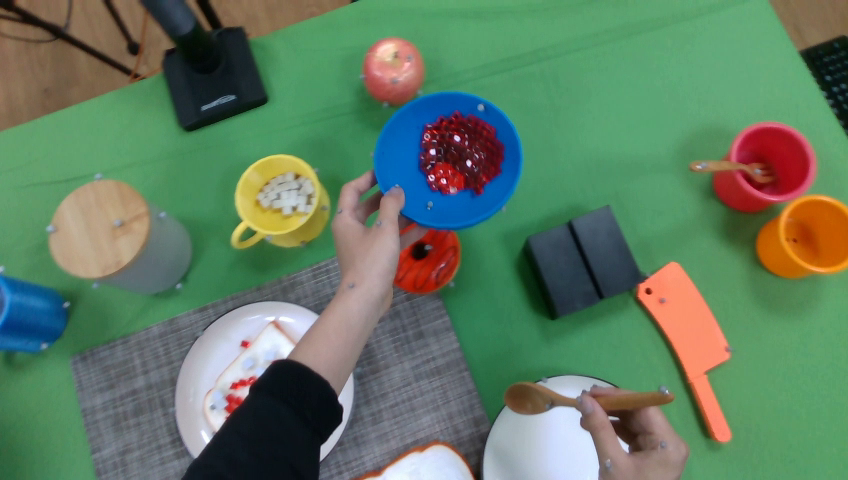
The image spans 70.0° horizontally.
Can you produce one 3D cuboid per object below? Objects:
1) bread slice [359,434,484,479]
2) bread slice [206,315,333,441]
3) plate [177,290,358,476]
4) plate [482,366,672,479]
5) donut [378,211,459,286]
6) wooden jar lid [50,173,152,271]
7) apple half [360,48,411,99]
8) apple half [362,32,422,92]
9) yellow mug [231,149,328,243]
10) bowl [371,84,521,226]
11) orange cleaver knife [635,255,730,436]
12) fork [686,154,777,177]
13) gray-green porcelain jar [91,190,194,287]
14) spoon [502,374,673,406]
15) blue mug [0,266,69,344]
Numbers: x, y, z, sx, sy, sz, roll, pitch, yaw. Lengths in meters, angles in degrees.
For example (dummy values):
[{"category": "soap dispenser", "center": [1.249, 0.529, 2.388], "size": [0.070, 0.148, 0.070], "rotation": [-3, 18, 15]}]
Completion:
[{"category": "bread slice", "center": [0.002, 0.276, 0.652], "size": [0.134, 0.018, 0.106], "rotation": [-24, 74, -24]}, {"category": "bread slice", "center": [-0.187, 0.168, 0.708], "size": [0.104, 0.019, 0.131], "rotation": [42, 81, 10]}, {"category": "plate", "center": [-0.178, 0.164, 0.707], "size": [0.207, 0.039, 0.206], "rotation": [0, 77, 2]}, {"category": "plate", "center": [0.168, 0.248, 0.679], "size": [0.209, 0.038, 0.208], "rotation": [0, 77, 2]}, {"category": "donut", "center": [-0.006, 0.007, 0.733], "size": [0.099, 0.048, 0.098], "rotation": [0, 78, 1]}, {"category": "wooden jar lid", "center": [-0.343, -0.018, 0.649], "size": [0.108, 0.021, 0.108], "rotation": [-1, 75, 3]}, {"category": "apple half", "center": [-0.055, -0.201, 0.770], "size": [0.081, 0.081, 0.032], "rotation": [34, 75, 10]}, {"category": "apple half", "center": [-0.034, -0.232, 0.777], "size": [0.080, 0.075, 0.053], "rotation": [34, 75, 13]}, {"category": "yellow mug", "center": [-0.185, -0.044, 0.744], "size": [0.131, 0.064, 0.099], "rotation": [-44, 79, -6]}, {"category": "bowl", "center": [0.024, -0.077, 0.637], "size": [0.151, 0.077, 0.150], "rotation": [-1, 73, 3]}, {"category": "orange cleaver knife", "center": [0.319, 0.120, 0.713], "size": [0.077, 0.012, 0.210], "rotation": [-19, 76, -9]}, {"category": "fork", "center": [0.354, -0.088, 0.693], "size": [0.208, 0.018, 0.028], "rotation": [-3, 72, -41]}, {"category": "gray-green porcelain jar", "center": [-0.340, -0.003, 0.709], "size": [0.106, 0.127, 0.105], "rotation": [0, 76, 2]}, {"category": "spoon", "center": [0.139, 0.137, 0.547], "size": [0.021, 0.193, 0.042], "rotation": [-42, 102, -32]}, {"category": "blue mug", "center": [-0.498, 0.088, 0.705], "size": [0.082, 0.106, 0.116], "rotation": [43, 82, 11]}]
